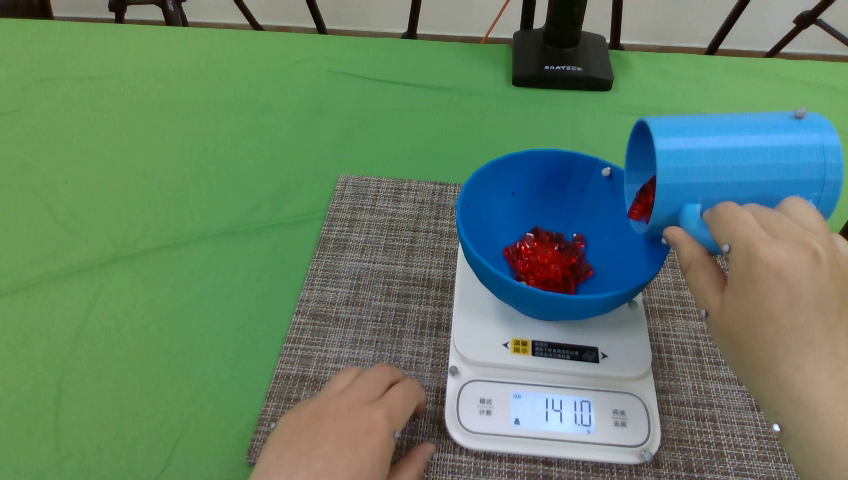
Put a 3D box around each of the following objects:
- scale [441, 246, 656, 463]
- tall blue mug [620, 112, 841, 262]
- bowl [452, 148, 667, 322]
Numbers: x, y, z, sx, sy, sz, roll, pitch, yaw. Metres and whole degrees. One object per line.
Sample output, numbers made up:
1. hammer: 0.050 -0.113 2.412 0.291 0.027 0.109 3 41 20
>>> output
1. scale: 0.094 0.067 0.470 0.148 0.032 0.199 4 47 4
2. tall blue mug: 0.191 -0.037 0.377 0.108 0.078 0.106 -1 15 3
3. bowl: 0.094 0.008 0.452 0.151 0.077 0.150 1 47 -1
